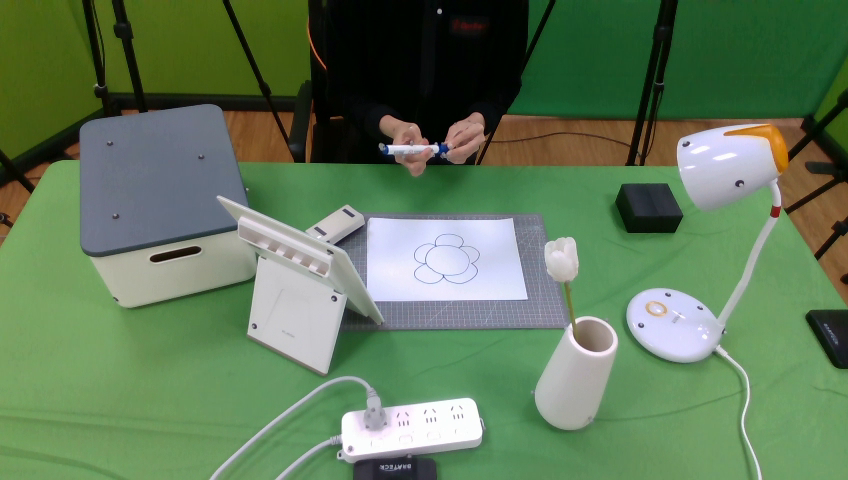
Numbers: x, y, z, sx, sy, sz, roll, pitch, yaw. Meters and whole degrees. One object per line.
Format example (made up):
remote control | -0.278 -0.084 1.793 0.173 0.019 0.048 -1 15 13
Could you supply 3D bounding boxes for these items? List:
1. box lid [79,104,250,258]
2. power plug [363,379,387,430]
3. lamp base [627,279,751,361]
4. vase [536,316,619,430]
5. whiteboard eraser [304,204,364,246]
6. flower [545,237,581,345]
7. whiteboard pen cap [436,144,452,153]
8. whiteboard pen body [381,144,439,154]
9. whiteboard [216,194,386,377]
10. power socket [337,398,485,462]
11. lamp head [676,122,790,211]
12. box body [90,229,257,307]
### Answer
box lid | -0.467 -0.120 1.075 0.264 0.015 0.369 -13 49 -17
power plug | -0.071 0.252 0.911 0.035 0.053 0.072 3 40 0
lamp base | 0.460 0.100 1.027 0.178 0.181 0.160 27 51 17
vase | 0.229 0.200 0.901 0.098 0.201 0.097 3 46 -3
whiteboard eraser | -0.175 -0.022 1.188 0.055 0.042 0.112 36 53 26
flower | 0.213 0.137 0.846 0.038 0.364 0.044 21 55 40
whiteboard pen cap | 0.034 -0.169 1.116 0.033 0.018 0.018 -7 44 -38
whiteboard pen body | -0.014 -0.162 1.079 0.141 0.017 0.017 -7 45 -35
whiteboard | -0.212 0.093 0.939 0.216 0.307 0.143 24 70 17
power socket | -0.018 0.285 0.914 0.227 0.033 0.071 -4 46 -8
lamp head | 0.423 -0.104 0.819 0.122 0.113 0.112 -13 33 40
box body | -0.471 -0.070 1.131 0.254 0.161 0.361 -14 49 -17
